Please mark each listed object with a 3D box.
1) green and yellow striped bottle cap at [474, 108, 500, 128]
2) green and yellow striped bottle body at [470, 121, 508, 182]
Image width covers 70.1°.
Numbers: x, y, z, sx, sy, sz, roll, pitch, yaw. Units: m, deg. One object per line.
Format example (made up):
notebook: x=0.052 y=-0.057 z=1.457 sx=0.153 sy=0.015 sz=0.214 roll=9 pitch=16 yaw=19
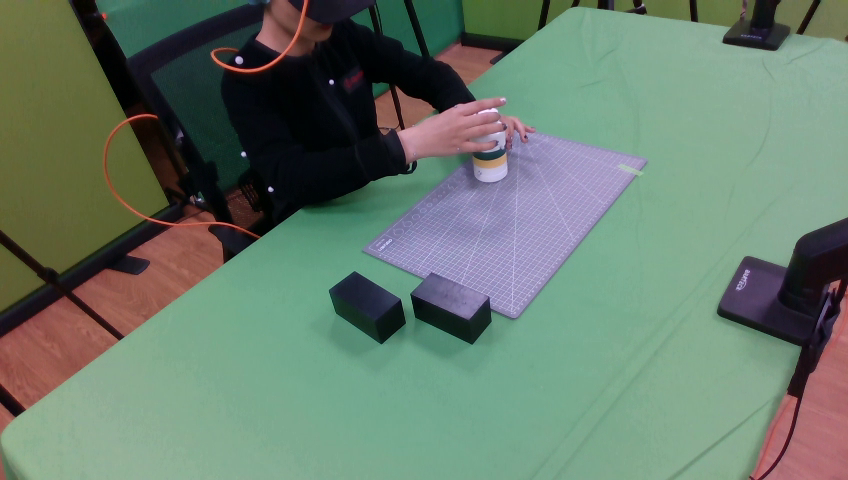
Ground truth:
green and yellow striped bottle cap: x=0.109 y=-0.211 z=1.041 sx=0.045 sy=0.020 sz=0.045 roll=-10 pitch=32 yaw=7
green and yellow striped bottle body: x=0.117 y=-0.169 z=1.079 sx=0.063 sy=0.120 sz=0.063 roll=-6 pitch=40 yaw=5
